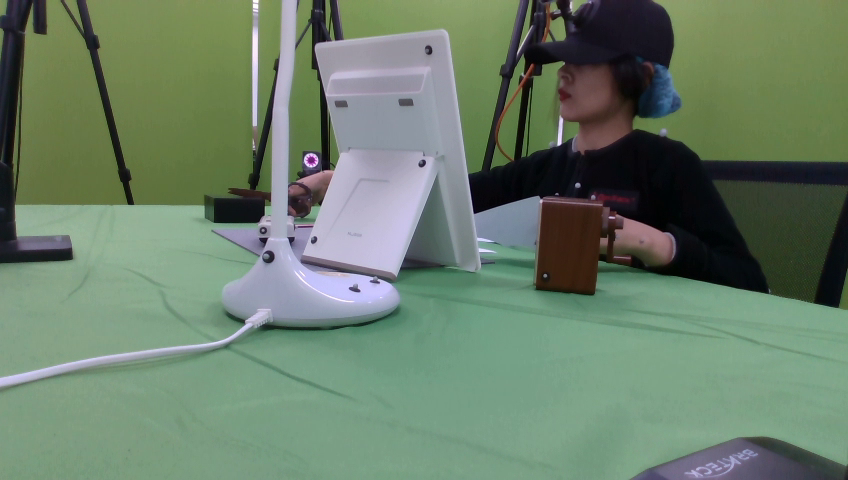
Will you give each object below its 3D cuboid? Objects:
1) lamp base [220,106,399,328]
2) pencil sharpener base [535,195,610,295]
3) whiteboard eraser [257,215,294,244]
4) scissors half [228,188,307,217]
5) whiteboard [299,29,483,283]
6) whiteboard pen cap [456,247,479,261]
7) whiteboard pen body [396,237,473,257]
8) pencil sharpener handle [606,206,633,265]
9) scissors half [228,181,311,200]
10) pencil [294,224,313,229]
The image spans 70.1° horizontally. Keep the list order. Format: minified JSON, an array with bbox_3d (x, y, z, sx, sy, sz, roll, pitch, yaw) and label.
[{"bbox_3d":[-0.102,-0.023,0.531,0.160,0.180,0.179,4,10,10],"label":"lamp base"},{"bbox_3d":[0.172,0.005,0.695,0.076,0.107,0.061,5,7,16],"label":"pencil sharpener base"},{"bbox_3d":[-0.232,-0.016,0.951,0.056,0.042,0.112,1,7,-12],"label":"whiteboard eraser"},{"bbox_3d":[-0.337,-0.085,1.309,0.176,0.040,0.012,20,11,-29],"label":"scissors half"},{"bbox_3d":[-0.074,-0.082,0.742,0.216,0.305,0.144,9,30,38],"label":"whiteboard"},{"bbox_3d":[0.060,0.020,0.851,0.033,0.018,0.018,10,11,37],"label":"whiteboard pen cap"},{"bbox_3d":[0.014,0.012,0.886,0.140,0.017,0.017,10,10,38],"label":"whiteboard pen body"},{"bbox_3d":[0.222,-0.004,0.683,0.030,0.068,0.036,5,21,17],"label":"pencil sharpener handle"},{"bbox_3d":[-0.331,-0.105,1.304,0.176,0.040,0.013,-5,17,-24],"label":"scissors half"},{"bbox_3d":[-0.221,-0.028,1.210,0.195,0.012,0.012,-5,10,-34],"label":"pencil"}]
